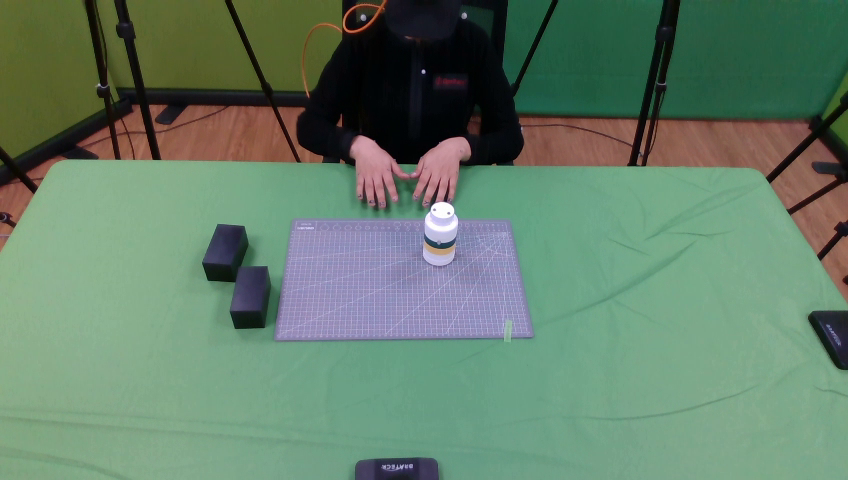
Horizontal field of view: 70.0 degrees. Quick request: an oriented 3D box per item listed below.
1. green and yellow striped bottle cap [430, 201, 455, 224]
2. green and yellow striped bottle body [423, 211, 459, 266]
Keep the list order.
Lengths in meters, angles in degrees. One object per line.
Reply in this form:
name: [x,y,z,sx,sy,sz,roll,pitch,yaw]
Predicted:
green and yellow striped bottle cap: [0.034,-0.050,1.102,0.045,0.020,0.045,2,48,-2]
green and yellow striped bottle body: [0.032,-0.013,1.139,0.063,0.120,0.063,2,46,-2]
